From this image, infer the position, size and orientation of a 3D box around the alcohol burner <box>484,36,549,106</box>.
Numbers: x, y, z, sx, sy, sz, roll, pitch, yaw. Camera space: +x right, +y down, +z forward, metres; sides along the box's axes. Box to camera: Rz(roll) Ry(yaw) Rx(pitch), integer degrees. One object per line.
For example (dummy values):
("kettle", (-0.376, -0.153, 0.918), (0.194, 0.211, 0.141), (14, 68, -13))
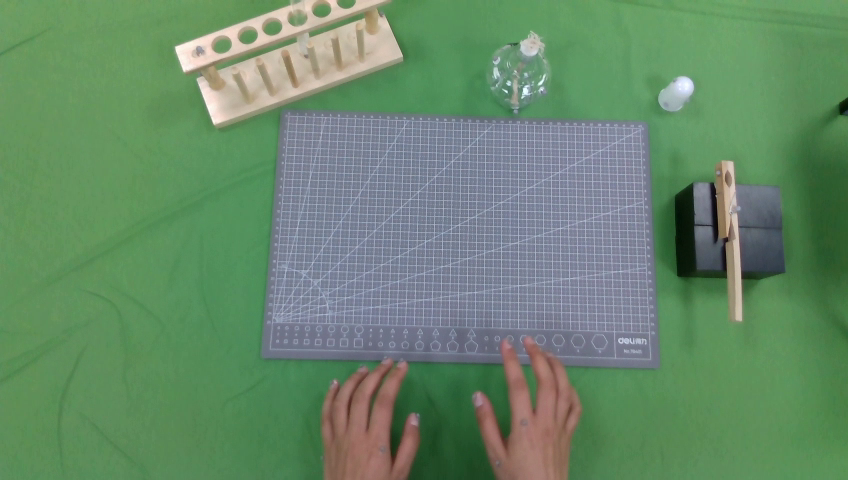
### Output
("alcohol burner", (0.110, -0.204, 0.702), (0.078, 0.119, 0.077), (1, 78, -3))

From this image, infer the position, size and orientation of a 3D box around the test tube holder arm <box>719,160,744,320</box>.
("test tube holder arm", (0.337, -0.001, 0.668), (0.013, 0.015, 0.177), (-2, 80, -4))

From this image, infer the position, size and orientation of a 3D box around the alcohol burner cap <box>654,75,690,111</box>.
("alcohol burner cap", (0.306, -0.181, 0.740), (0.034, 0.048, 0.033), (0, 77, 0))

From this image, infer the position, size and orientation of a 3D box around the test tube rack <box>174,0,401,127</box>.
("test tube rack", (-0.152, -0.220, 0.710), (0.242, 0.085, 0.066), (-22, 79, -6))

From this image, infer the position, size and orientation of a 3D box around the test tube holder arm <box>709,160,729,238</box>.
("test tube holder arm", (0.330, -0.046, 0.675), (0.010, 0.015, 0.087), (0, 80, -4))

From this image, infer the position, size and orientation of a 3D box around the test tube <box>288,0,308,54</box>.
("test tube", (-0.140, -0.254, 0.667), (0.017, 0.151, 0.017), (2, 71, -5))
